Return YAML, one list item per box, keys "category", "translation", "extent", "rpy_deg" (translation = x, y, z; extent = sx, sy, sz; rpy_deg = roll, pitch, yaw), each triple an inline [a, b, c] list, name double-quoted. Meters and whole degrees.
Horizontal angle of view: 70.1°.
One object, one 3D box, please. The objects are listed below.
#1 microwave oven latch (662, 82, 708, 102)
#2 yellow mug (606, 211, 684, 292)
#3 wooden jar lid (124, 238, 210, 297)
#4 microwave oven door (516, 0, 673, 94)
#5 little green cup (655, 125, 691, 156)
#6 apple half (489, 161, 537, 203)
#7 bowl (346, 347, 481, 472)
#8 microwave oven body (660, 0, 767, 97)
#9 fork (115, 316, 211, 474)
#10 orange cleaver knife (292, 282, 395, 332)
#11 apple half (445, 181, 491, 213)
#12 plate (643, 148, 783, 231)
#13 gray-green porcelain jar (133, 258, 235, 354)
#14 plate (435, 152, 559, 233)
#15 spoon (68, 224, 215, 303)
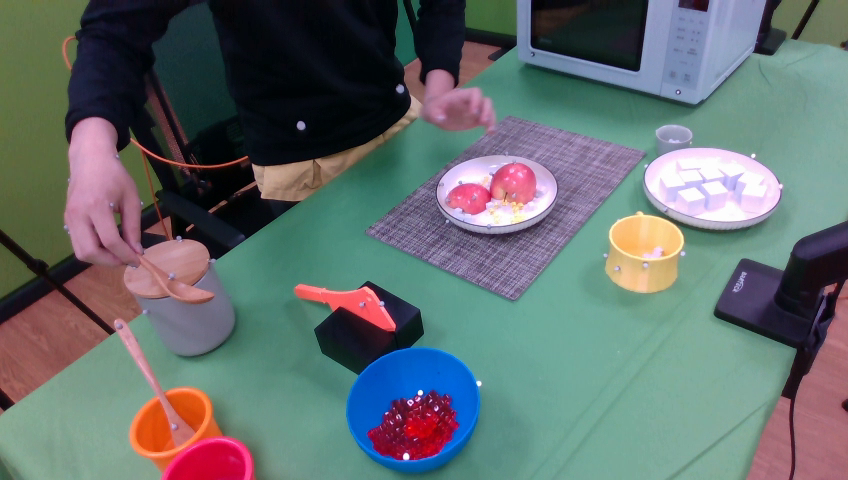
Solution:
- category: "microwave oven latch"
  translation: [0.518, -0.298, 1.203]
  extent: [0.078, 0.029, 0.030]
  rpy_deg: [28, 53, 35]
- category: "yellow mug"
  translation: [0.318, 0.007, 0.883]
  extent: [0.100, 0.064, 0.130]
  rpy_deg: [0, 41, 8]
- category: "wooden jar lid"
  translation: [-0.335, 0.038, 0.794]
  extent: [0.108, 0.021, 0.108]
  rpy_deg: [-2, 39, 2]
- category: "microwave oven door"
  translation: [0.344, -0.458, 1.257]
  extent: [0.353, 0.245, 0.039]
  rpy_deg: [26, 52, 33]
- category: "little green cup"
  translation: [0.450, -0.177, 1.099]
  extent: [0.061, 0.039, 0.061]
  rpy_deg: [-5, 40, 4]
- category: "apple half"
  translation: [0.154, -0.106, 1.030]
  extent: [0.080, 0.053, 0.075]
  rpy_deg: [22, 46, 31]
- category: "bowl"
  translation: [-0.008, 0.205, 0.691]
  extent: [0.151, 0.077, 0.150]
  rpy_deg: [-4, 40, 4]
- category: "microwave oven body"
  translation: [0.474, -0.517, 1.313]
  extent: [0.438, 0.261, 0.327]
  rpy_deg: [26, 51, 34]
- category: "fork"
  translation: [-0.308, 0.179, 0.708]
  extent: [0.028, 0.018, 0.207]
  rpy_deg: [-30, 89, -16]
- category: "orange cleaver knife"
  translation: [-0.116, 0.091, 0.835]
  extent: [0.209, 0.077, 0.012]
  rpy_deg: [2, 32, 48]
- category: "apple half"
  translation: [0.077, -0.083, 1.029]
  extent: [0.081, 0.033, 0.081]
  rpy_deg: [-2, 41, 2]
- category: "plate"
  translation: [0.464, -0.080, 0.986]
  extent: [0.207, 0.039, 0.206]
  rpy_deg: [-4, 41, 4]
- category: "gray-green porcelain jar"
  translation: [-0.327, 0.086, 0.836]
  extent: [0.106, 0.127, 0.105]
  rpy_deg: [-4, 41, 4]
- category: "plate"
  translation: [0.124, -0.078, 1.026]
  extent: [0.209, 0.038, 0.208]
  rpy_deg: [-4, 40, 4]
- category: "spoon"
  translation: [-0.319, 0.024, 0.679]
  extent: [0.193, 0.021, 0.042]
  rpy_deg: [30, 13, 9]
